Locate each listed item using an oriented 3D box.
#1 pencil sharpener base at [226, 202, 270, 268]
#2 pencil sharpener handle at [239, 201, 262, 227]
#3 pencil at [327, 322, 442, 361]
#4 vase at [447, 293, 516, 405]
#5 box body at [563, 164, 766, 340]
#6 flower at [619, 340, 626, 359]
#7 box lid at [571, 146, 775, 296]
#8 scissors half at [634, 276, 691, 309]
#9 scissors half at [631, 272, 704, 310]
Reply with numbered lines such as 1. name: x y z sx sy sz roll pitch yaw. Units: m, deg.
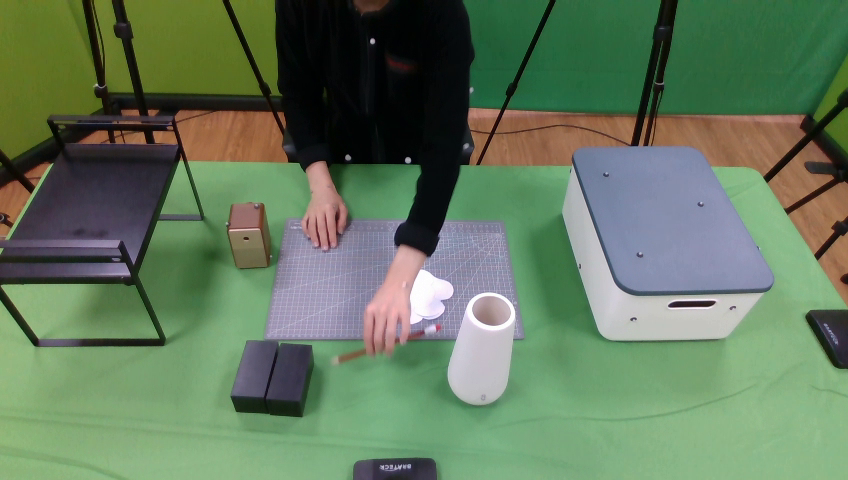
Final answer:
1. pencil sharpener base: -0.323 -0.010 1.123 0.061 0.107 0.076 -3 46 -7
2. pencil sharpener handle: -0.325 -0.055 1.150 0.036 0.068 0.030 -13 46 4
3. pencil: -0.062 0.164 0.973 0.194 0.012 0.012 -15 50 -16
4. vase: 0.091 0.169 0.921 0.098 0.201 0.097 3 47 -3
5. box body: 0.421 0.003 1.130 0.254 0.161 0.361 0 46 -5
6. flower: 0.416 0.065 1.186 0.038 0.044 0.360 29 64 -20
7. box lid: 0.424 -0.048 1.073 0.263 0.015 0.369 -1 46 -4
8. scissors half: 0.454 0.096 1.144 0.175 0.040 0.013 -20 89 -31
9. scissors half: 0.460 0.092 1.132 0.175 0.040 0.013 -22 83 -21
